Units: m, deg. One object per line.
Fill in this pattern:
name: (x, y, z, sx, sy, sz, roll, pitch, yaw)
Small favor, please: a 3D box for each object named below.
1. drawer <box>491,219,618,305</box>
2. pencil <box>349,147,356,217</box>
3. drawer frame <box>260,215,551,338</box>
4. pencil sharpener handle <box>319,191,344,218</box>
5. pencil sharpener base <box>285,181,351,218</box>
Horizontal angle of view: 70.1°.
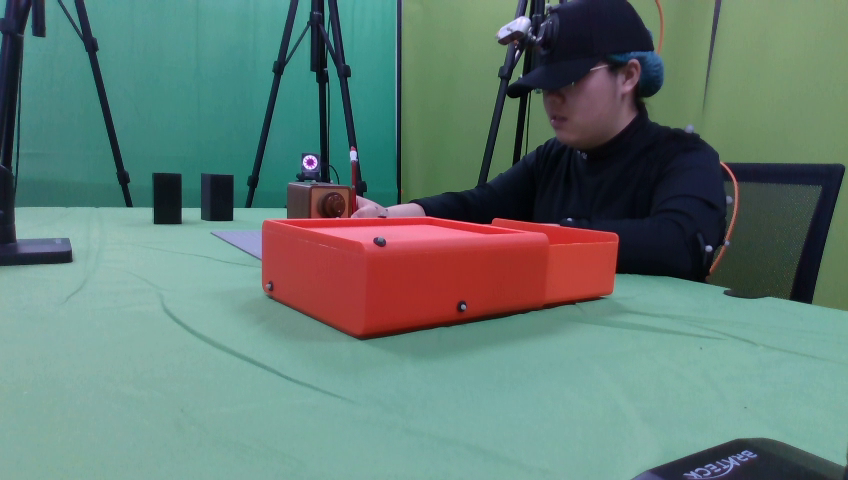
drawer: (0.071, 0.021, 0.669, 0.213, 0.073, 0.193, -3, 9, -39)
pencil: (-0.123, -0.081, 1.049, 0.012, 0.193, 0.012, -3, -28, -1)
drawer frame: (-0.021, 0.024, 0.595, 0.215, 0.082, 0.200, -4, 10, -38)
pencil sharpener handle: (-0.107, -0.026, 0.747, 0.036, 0.067, 0.030, -5, 11, -36)
pencil sharpener base: (-0.139, -0.020, 0.789, 0.062, 0.107, 0.076, -2, 9, -36)
